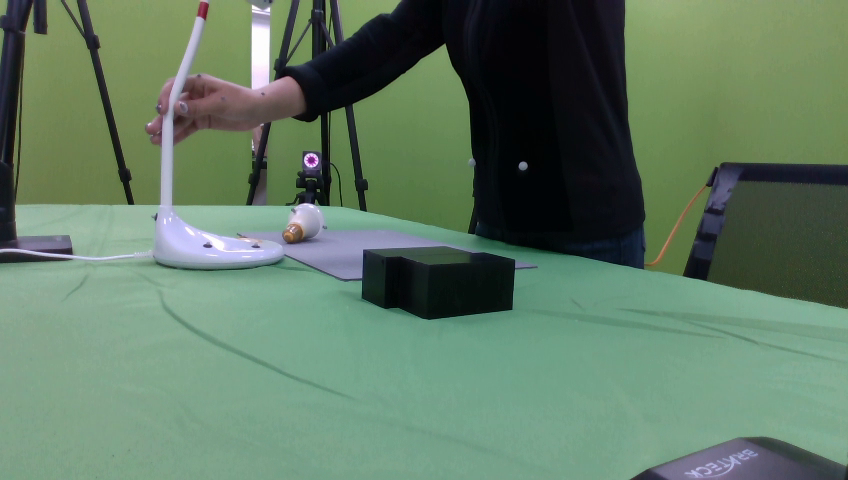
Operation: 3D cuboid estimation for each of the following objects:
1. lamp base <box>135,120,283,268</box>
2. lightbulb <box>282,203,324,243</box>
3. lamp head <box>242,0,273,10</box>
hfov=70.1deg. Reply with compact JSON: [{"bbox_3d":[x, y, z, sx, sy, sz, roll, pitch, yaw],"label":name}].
[{"bbox_3d":[-0.273,-0.061,0.769,0.180,0.180,0.160,-7,11,-37],"label":"lamp base"},{"bbox_3d":[-0.203,-0.023,0.993,0.059,0.059,0.108,3,23,12],"label":"lightbulb"},{"bbox_3d":[-0.245,-0.371,0.781,0.123,0.112,0.112,10,1,-35],"label":"lamp head"}]
